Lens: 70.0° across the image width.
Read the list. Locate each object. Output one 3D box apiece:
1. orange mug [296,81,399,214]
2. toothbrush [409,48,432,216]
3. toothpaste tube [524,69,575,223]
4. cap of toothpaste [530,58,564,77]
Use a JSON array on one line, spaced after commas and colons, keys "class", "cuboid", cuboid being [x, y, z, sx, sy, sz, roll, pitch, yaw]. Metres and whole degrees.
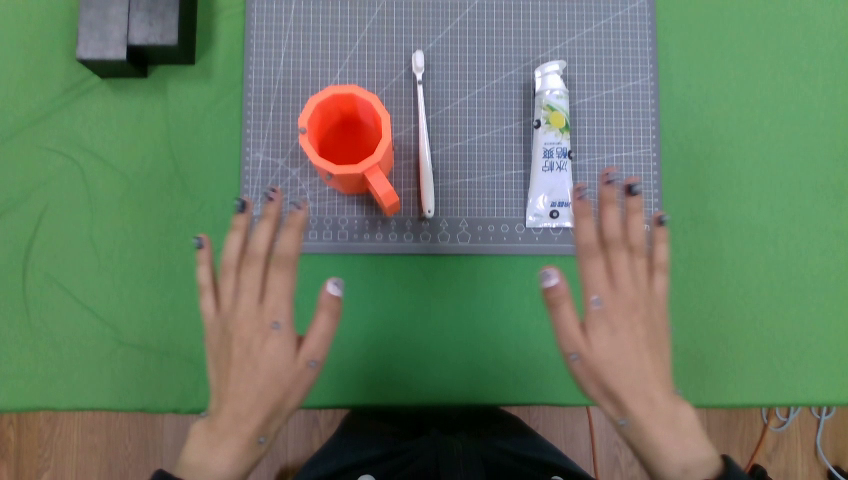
[{"class": "orange mug", "cuboid": [-0.066, -0.084, 0.598, 0.083, 0.101, 0.126, -34, 82, -5]}, {"class": "toothbrush", "cuboid": [-0.003, -0.116, 0.644, 0.014, 0.016, 0.181, -3, 86, -17]}, {"class": "toothpaste tube", "cuboid": [0.132, -0.100, 0.644, 0.055, 0.034, 0.165, -1, 88, 5]}, {"class": "cap of toothpaste", "cuboid": [0.132, -0.182, 0.645, 0.037, 0.037, 0.011, -12, 82, -4]}]
